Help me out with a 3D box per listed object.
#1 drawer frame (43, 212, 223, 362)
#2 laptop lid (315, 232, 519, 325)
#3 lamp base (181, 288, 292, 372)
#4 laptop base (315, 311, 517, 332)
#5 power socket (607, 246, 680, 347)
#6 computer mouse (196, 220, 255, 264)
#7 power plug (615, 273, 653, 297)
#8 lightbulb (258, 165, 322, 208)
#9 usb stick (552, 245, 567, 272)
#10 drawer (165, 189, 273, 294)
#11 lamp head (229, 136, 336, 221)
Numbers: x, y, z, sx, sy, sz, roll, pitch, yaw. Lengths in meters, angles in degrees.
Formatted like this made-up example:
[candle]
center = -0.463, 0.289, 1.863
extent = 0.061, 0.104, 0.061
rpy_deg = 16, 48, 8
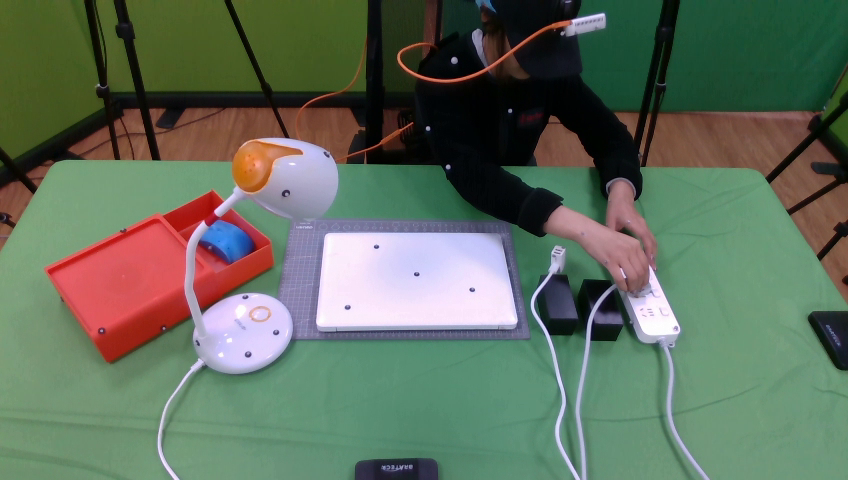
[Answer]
[drawer frame]
center = -0.497, 0.073, 1.049
extent = 0.213, 0.083, 0.200
rpy_deg = -34, 57, -31
[laptop lid]
center = -0.015, 0.065, 1.118
extent = 0.357, 0.013, 0.240
rpy_deg = 1, 43, -3
[lamp base]
center = -0.309, 0.108, 0.959
extent = 0.160, 0.181, 0.179
rpy_deg = 29, 55, 22
[laptop base]
center = -0.016, 0.075, 1.125
extent = 0.355, 0.023, 0.234
rpy_deg = 0, 42, -4
[power socket]
center = 0.403, 0.096, 1.123
extent = 0.072, 0.033, 0.225
rpy_deg = -3, 47, -5
[computer mouse]
center = -0.380, -0.002, 1.153
extent = 0.116, 0.041, 0.062
rpy_deg = 28, 53, 28
[power plug]
center = 0.375, 0.081, 1.094
extent = 0.072, 0.053, 0.035
rpy_deg = 3, 39, 4
[lightbulb]
center = -0.181, -0.076, 0.809
extent = 0.059, 0.059, 0.108
rpy_deg = 35, 10, 27
[usb stick]
center = 0.251, 0.039, 1.124
extent = 0.021, 0.059, 0.027
rpy_deg = 15, 48, 26
[drawer]
center = -0.419, 0.021, 1.108
extent = 0.193, 0.073, 0.211
rpy_deg = 37, 55, 27
[lamp head]
center = -0.195, -0.085, 0.791
extent = 0.112, 0.112, 0.123
rpy_deg = 36, 14, 27
